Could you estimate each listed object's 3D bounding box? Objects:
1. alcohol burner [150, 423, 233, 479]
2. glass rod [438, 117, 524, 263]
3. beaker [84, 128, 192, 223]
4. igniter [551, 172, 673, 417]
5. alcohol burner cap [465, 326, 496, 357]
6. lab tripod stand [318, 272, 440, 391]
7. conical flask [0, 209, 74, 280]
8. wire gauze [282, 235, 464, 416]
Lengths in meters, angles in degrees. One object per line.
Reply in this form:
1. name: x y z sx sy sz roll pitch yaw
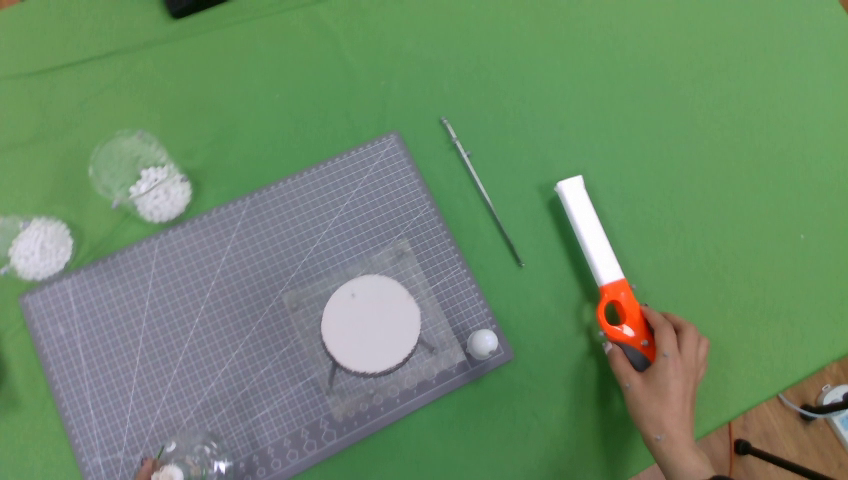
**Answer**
1. alcohol burner: -0.222 0.213 0.566 0.078 0.119 0.077 1 77 -3
2. glass rod: 0.065 -0.061 0.704 0.008 0.008 0.199 -26 79 -9
3. beaker: -0.292 -0.063 0.639 0.084 0.100 0.073 10 76 -1
4. igniter: 0.205 0.055 0.664 0.057 0.025 0.275 -18 77 -9
5. alcohol burner cap: 0.062 0.106 0.645 0.034 0.048 0.033 1 76 -2
6. lab tripod stand: -0.053 0.092 0.595 0.148 0.132 0.147 1 78 -3
7. conical flask: -0.415 -0.007 0.606 0.075 0.122 0.075 1 76 -3
8. wire gauze: -0.046 0.073 0.530 0.125 0.011 0.121 -24 80 -7
